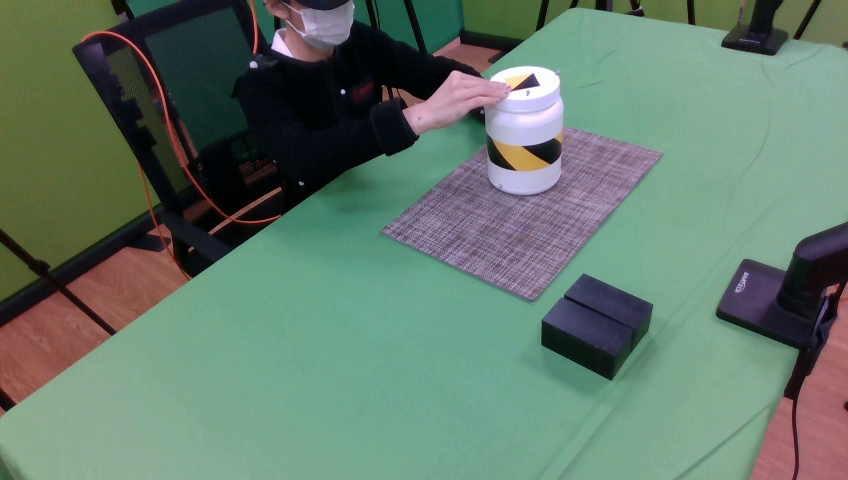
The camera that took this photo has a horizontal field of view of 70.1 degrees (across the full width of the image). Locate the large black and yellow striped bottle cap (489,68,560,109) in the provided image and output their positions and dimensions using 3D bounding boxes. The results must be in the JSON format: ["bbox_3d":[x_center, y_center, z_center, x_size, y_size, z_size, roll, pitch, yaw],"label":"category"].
[{"bbox_3d":[0.161,-0.247,0.979,0.115,0.019,0.114,-5,38,4],"label":"large black and yellow striped bottle cap"}]

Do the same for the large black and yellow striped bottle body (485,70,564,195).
[{"bbox_3d":[0.172,-0.184,1.034,0.131,0.185,0.130,-5,40,4],"label":"large black and yellow striped bottle body"}]
